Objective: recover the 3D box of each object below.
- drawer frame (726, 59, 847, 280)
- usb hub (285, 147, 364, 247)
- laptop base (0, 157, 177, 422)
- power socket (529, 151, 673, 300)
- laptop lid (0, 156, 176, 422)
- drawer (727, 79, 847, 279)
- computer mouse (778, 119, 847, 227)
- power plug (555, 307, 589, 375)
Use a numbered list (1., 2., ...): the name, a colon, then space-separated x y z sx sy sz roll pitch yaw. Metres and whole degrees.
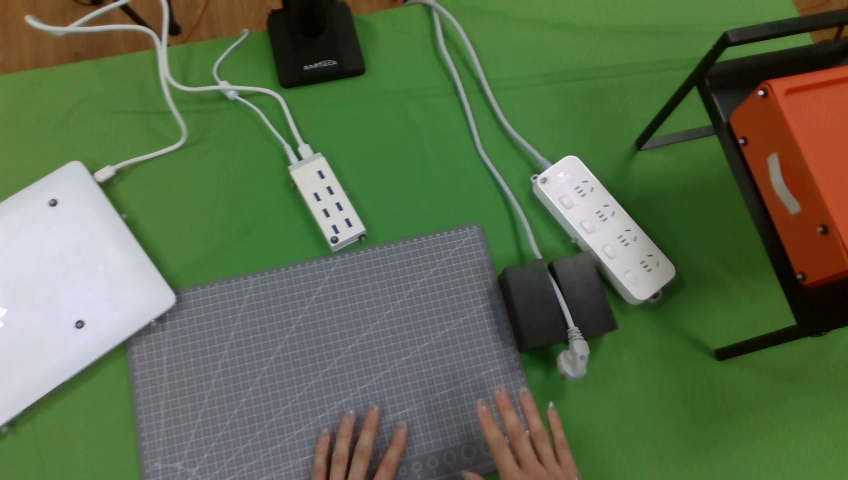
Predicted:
1. drawer frame: 0.451 -0.083 0.611 0.214 0.083 0.200 -14 74 -9
2. usb hub: -0.128 -0.055 0.775 0.049 0.025 0.124 -28 77 -12
3. laptop base: -0.500 0.083 0.707 0.354 0.023 0.234 -37 82 -14
4. power socket: 0.229 -0.021 0.788 0.072 0.033 0.225 -35 78 -15
5. laptop lid: -0.498 0.081 0.695 0.356 0.013 0.240 -35 80 -14
6. drawer: 0.447 -0.081 0.611 0.212 0.073 0.193 -13 73 -9
7. computer mouse: 0.418 -0.072 0.621 0.063 0.041 0.116 -18 73 -6
8. power plug: 0.174 0.123 0.717 0.035 0.053 0.072 17 52 -16
